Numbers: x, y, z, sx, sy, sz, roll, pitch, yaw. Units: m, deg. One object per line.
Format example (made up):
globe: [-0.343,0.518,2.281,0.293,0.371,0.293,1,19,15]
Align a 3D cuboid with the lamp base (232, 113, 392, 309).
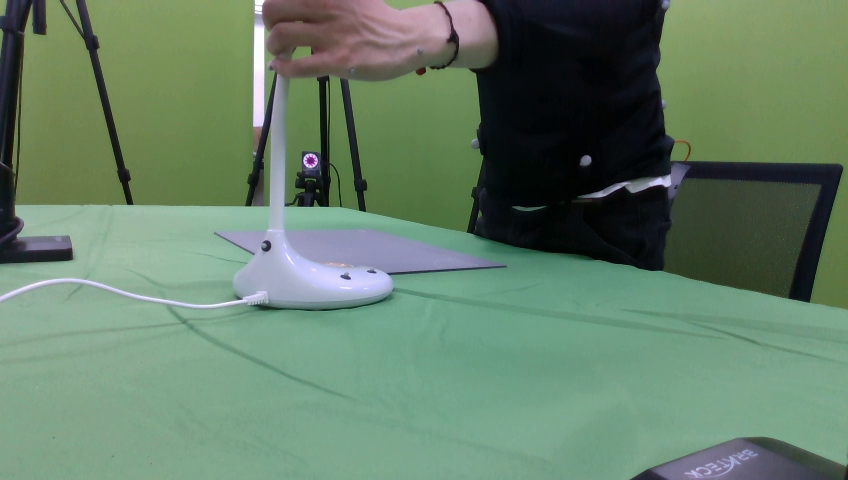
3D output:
lamp base: [-0.113,-0.031,0.594,0.160,0.180,0.179,4,10,18]
